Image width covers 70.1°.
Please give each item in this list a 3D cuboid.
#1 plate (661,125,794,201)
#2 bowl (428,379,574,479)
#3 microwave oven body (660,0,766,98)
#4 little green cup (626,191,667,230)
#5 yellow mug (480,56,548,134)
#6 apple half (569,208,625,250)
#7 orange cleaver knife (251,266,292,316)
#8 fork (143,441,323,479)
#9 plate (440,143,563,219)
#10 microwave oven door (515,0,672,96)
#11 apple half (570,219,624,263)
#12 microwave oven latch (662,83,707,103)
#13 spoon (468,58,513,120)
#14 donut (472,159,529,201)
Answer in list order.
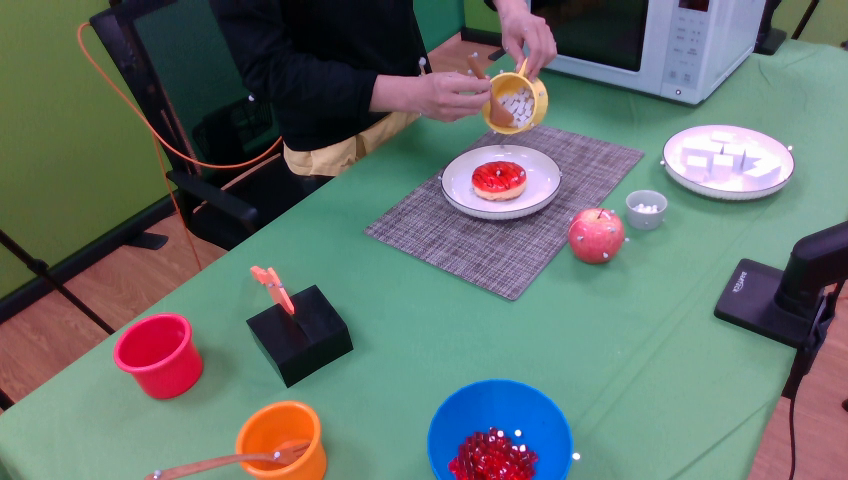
[{"bbox_3d":[0.513,-0.128,1.035,0.207,0.039,0.206,-4,40,4],"label":"plate"},{"bbox_3d":[0.082,0.233,0.644,0.151,0.077,0.150,-4,40,4],"label":"bowl"},{"bbox_3d":[0.472,-0.514,1.317,0.438,0.261,0.327,26,51,34],"label":"microwave oven body"},{"bbox_3d":[0.352,-0.046,0.963,0.061,0.039,0.061,-4,40,4],"label":"little green cup"},{"bbox_3d":[0.158,-0.247,1.024,0.099,0.131,0.064,26,24,18],"label":"yellow mug"},{"bbox_3d":[0.262,-0.014,0.913,0.080,0.075,0.053,5,37,20],"label":"apple half"},{"bbox_3d":[-0.221,0.071,0.873,0.012,0.077,0.210,-25,11,-21],"label":"orange cleaver knife"},{"bbox_3d":[-0.189,0.231,0.631,0.028,0.018,0.209,35,13,37],"label":"fork"},{"bbox_3d":[0.134,-0.098,1.052,0.209,0.038,0.208,-4,40,4],"label":"plate"},{"bbox_3d":[0.343,-0.455,1.259,0.353,0.245,0.039,26,51,33],"label":"microwave oven door"},{"bbox_3d":[0.250,0.009,0.885,0.081,0.081,0.033,7,39,17],"label":"apple half"},{"bbox_3d":[0.517,-0.296,1.204,0.078,0.029,0.030,27,52,35],"label":"microwave oven latch"},{"bbox_3d":[0.102,-0.236,0.960,0.041,0.195,0.021,-3,70,23],"label":"spoon"},{"bbox_3d":[0.132,-0.105,1.043,0.099,0.048,0.098,-5,38,4],"label":"donut"}]
